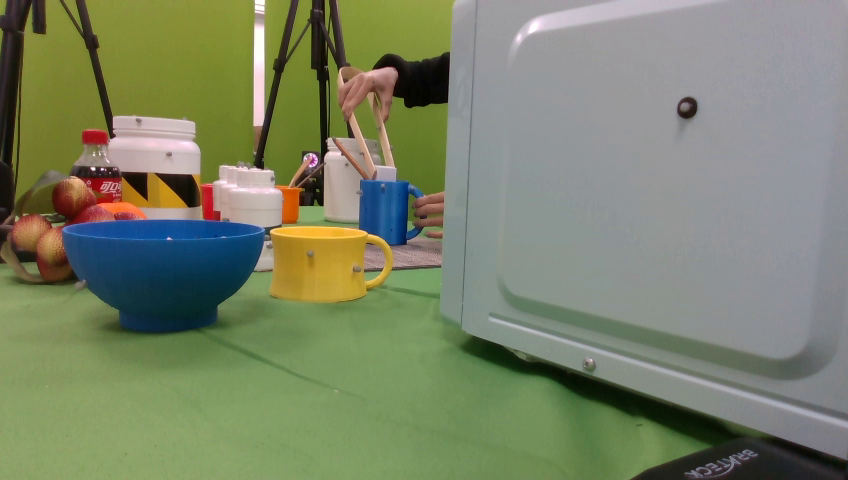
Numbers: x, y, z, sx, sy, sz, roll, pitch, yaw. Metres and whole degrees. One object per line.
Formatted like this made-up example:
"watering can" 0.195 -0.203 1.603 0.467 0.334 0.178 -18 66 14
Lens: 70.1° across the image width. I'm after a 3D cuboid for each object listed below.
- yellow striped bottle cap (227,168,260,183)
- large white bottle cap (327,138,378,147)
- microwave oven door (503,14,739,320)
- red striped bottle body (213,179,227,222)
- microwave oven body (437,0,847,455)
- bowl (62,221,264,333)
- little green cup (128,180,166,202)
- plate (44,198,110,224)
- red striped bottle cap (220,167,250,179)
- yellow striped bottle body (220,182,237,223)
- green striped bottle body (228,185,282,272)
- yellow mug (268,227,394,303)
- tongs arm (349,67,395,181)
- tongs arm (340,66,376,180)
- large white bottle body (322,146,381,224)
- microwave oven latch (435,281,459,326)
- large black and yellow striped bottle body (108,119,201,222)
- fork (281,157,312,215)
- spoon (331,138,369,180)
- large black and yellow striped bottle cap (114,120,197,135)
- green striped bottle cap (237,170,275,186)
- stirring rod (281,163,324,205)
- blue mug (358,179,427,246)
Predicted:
"yellow striped bottle cap" -0.243 -0.087 0.818 0.044 0.018 0.044 3 6 0
"large white bottle cap" -0.160 -0.218 1.357 0.115 0.018 0.115 2 8 0
"microwave oven door" 0.218 -0.065 0.600 0.358 0.243 0.039 -4 10 -41
"red striped bottle body" -0.284 -0.048 0.909 0.063 0.119 0.063 3 10 0
"microwave oven body" 0.279 -0.040 0.465 0.444 0.260 0.324 -3 9 -41
"bowl" -0.209 0.029 0.496 0.151 0.077 0.151 2 7 0
"little green cup" -0.485 -0.087 1.062 0.061 0.038 0.061 0 6 0
"plate" -0.617 -0.056 1.179 0.209 0.038 0.209 3 7 0
"red striped bottle cap" -0.281 -0.100 0.901 0.044 0.017 0.044 0 5 0
"yellow striped bottle body" -0.246 -0.036 0.825 0.063 0.120 0.063 3 8 0
"green striped bottle body" -0.208 -0.023 0.745 0.063 0.119 0.063 3 7 0
"yellow mug" -0.094 0.023 0.629 0.131 0.064 0.099 0 7 -22
"tongs arm" -0.103 -0.227 1.137 0.051 0.026 0.383 9 38 -18
"tongs arm" -0.124 -0.229 1.128 0.028 0.028 0.386 3 40 -20
"large white bottle body" -0.163 -0.134 1.369 0.131 0.184 0.130 2 8 0
"microwave oven latch" 0.044 0.045 0.470 0.079 0.029 0.030 -3 8 -39
"large black and yellow striped bottle body" -0.412 -0.088 0.930 0.131 0.184 0.130 3 7 0
"fork" -0.289 -0.116 1.321 0.028 0.019 0.207 6 51 19
"spoon" -0.095 -0.092 1.011 0.021 0.193 0.041 -32 3 11
"large black and yellow striped bottle cap" -0.407 -0.171 0.920 0.115 0.019 0.115 2 9 0
"green striped bottle cap" -0.205 -0.075 0.737 0.044 0.020 0.044 1 7 0
"stirring rod" -0.278 -0.105 1.293 0.176 0.006 0.014 -47 25 -18
"blue mug" -0.052 -0.047 1.007 0.116 0.106 0.082 4 8 8
